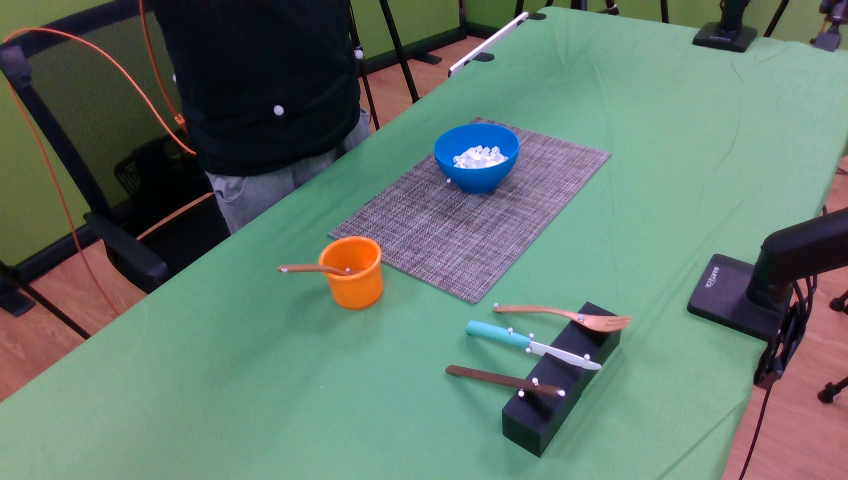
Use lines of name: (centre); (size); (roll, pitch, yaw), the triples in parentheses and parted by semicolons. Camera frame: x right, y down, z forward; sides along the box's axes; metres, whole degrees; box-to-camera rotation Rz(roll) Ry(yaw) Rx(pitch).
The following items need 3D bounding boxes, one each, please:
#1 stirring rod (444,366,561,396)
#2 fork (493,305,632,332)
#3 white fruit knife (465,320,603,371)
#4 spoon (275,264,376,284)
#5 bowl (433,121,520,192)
stirring rod: (0.088, 0.166, 0.718); (0.175, 0.006, 0.014); (-1, 25, 48)
fork: (0.171, 0.097, 0.783); (0.205, 0.019, 0.028); (4, 41, 43)
white fruit knife: (0.128, 0.129, 0.750); (0.205, 0.027, 0.016); (11, 45, 44)
spoon: (-0.133, 0.044, 0.840); (0.041, 0.195, 0.021); (26, 95, 33)
bowl: (0.094, -0.137, 1.064); (0.151, 0.077, 0.150); (-4, 41, 4)
